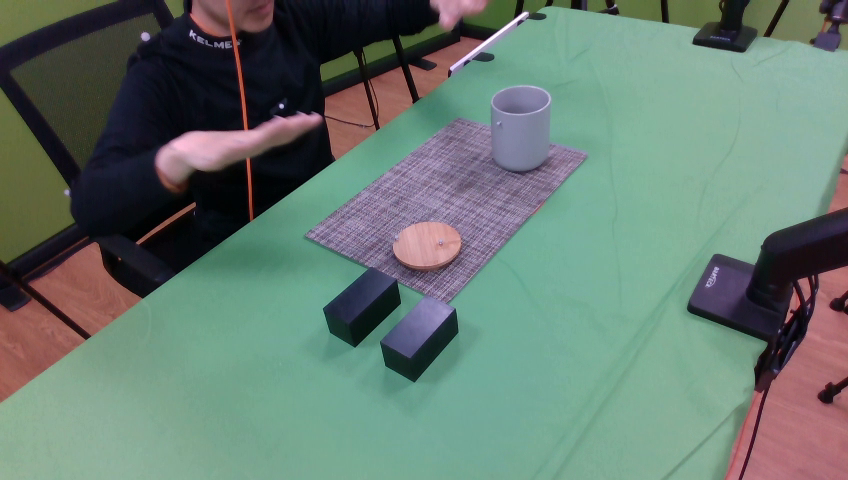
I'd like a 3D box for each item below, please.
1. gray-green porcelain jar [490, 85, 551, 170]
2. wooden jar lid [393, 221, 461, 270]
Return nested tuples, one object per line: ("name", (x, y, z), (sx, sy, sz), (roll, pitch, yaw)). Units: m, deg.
("gray-green porcelain jar", (0.173, -0.198, 1.087), (0.106, 0.127, 0.105), (-4, 41, 4))
("wooden jar lid", (0.005, 0.010, 0.952), (0.108, 0.021, 0.108), (-4, 39, 4))
